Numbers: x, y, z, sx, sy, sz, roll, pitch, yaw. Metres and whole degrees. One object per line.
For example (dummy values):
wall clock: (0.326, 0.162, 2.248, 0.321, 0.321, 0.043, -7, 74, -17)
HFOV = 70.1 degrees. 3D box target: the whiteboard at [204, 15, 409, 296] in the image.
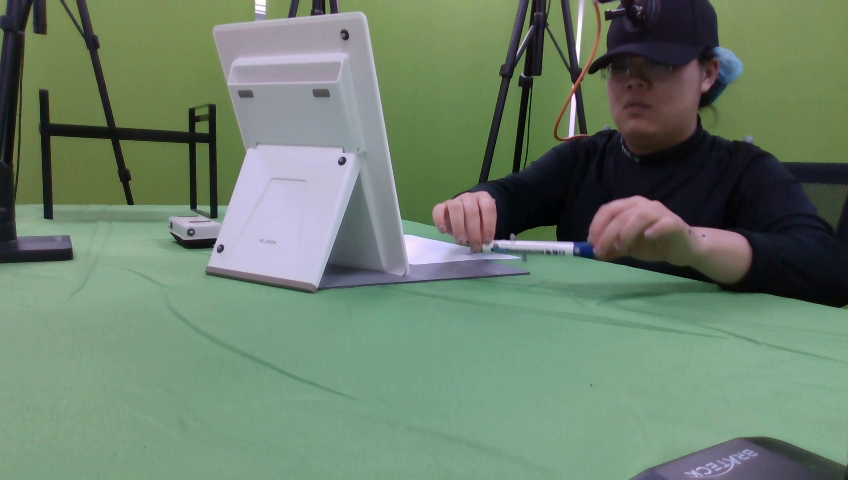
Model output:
whiteboard: (-0.166, -0.072, 0.669, 0.216, 0.305, 0.144, 8, 30, 30)

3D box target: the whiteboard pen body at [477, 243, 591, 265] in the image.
whiteboard pen body: (0.130, 0.017, 0.710, 0.140, 0.017, 0.017, 5, 8, 21)

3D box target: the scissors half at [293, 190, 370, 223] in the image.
scissors half: (-0.205, -0.078, 1.338, 0.175, 0.040, 0.013, 22, 11, -8)

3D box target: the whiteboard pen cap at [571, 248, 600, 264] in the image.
whiteboard pen cap: (0.184, 0.018, 0.691, 0.033, 0.018, 0.018, 4, 7, 18)

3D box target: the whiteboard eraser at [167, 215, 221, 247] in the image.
whiteboard eraser: (-0.350, -0.014, 0.920, 0.056, 0.042, 0.112, 0, 7, -35)

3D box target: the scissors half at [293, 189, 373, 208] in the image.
scissors half: (-0.201, -0.097, 1.333, 0.175, 0.040, 0.013, 5, 18, -4)
